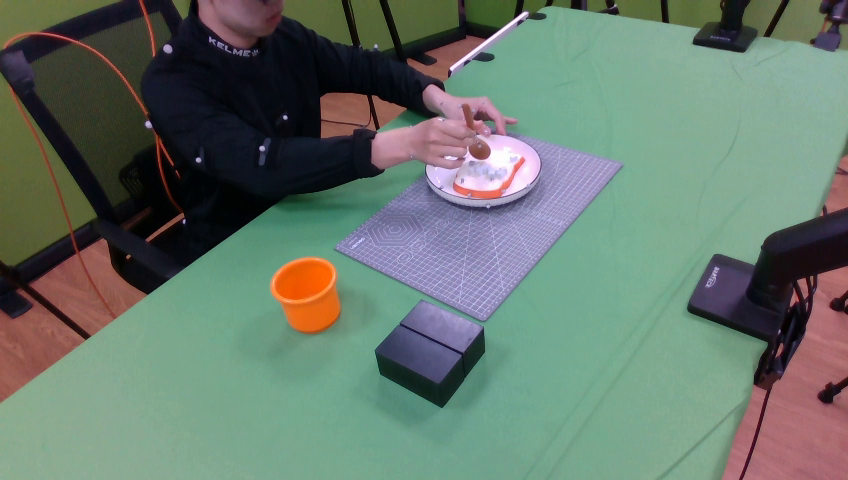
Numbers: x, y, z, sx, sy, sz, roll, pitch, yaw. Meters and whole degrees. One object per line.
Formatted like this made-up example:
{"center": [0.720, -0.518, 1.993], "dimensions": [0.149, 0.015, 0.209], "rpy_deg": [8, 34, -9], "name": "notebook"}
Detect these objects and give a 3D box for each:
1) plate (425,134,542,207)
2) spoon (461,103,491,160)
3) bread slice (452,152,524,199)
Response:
{"center": [0.106, -0.121, 1.079], "dimensions": [0.209, 0.038, 0.208], "rpy_deg": [-4, 40, 4], "name": "plate"}
{"center": [0.083, -0.177, 1.003], "dimensions": [0.041, 0.195, 0.021], "rpy_deg": [7, 79, 14], "name": "spoon"}
{"center": [0.111, -0.119, 1.079], "dimensions": [0.104, 0.019, 0.131], "rpy_deg": [11, 43, 21], "name": "bread slice"}
